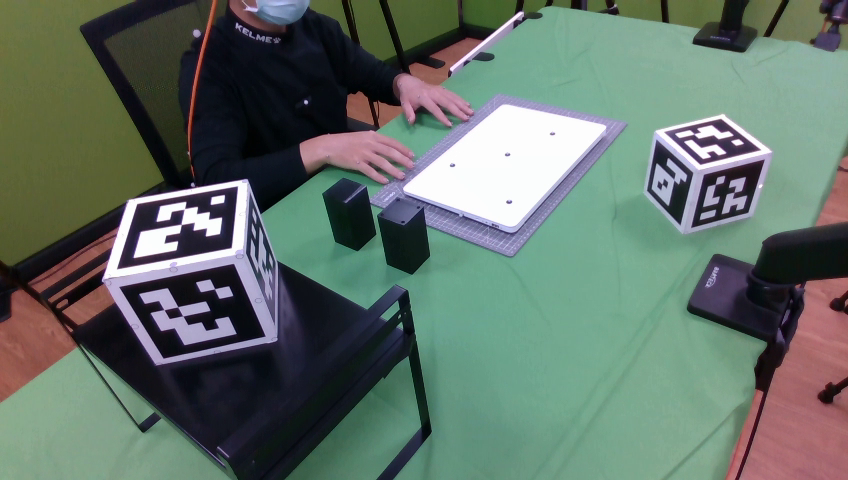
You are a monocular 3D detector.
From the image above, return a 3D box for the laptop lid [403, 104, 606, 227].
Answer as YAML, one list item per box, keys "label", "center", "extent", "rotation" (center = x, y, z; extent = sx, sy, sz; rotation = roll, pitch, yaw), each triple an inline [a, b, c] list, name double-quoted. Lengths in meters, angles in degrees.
- label: "laptop lid"
  center: [0.153, -0.154, 1.110]
  extent: [0.240, 0.013, 0.358]
  rotation: [22, 48, 33]

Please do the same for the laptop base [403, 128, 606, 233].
- label: "laptop base"
  center: [0.156, -0.144, 1.116]
  extent: [0.233, 0.023, 0.355]
  rotation: [20, 47, 32]
